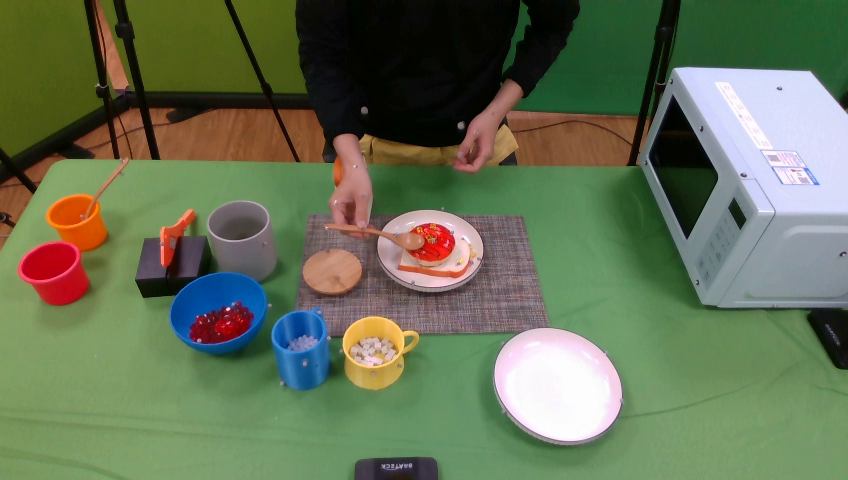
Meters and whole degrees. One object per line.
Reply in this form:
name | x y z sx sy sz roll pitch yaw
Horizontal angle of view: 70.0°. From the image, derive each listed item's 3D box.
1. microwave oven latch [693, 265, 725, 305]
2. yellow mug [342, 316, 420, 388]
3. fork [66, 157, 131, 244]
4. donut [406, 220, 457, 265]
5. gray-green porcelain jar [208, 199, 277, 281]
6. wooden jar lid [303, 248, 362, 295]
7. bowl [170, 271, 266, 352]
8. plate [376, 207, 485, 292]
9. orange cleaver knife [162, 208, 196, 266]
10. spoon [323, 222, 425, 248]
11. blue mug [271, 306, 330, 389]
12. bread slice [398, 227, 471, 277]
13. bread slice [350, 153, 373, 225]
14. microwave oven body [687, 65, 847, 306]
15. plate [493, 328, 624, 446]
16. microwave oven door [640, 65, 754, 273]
microwave oven latch | 0.522 0.081 1.115 0.030 0.029 0.078 2 46 -1
yellow mug | -0.068 0.177 0.991 0.131 0.064 0.099 -15 50 -19
fork | -0.608 -0.074 1.132 0.207 0.019 0.028 -52 49 10
donut | 0.014 0.004 1.137 0.099 0.048 0.098 1 47 -1
gray-green porcelain jar | -0.323 0.007 1.092 0.106 0.127 0.105 2 46 -2
wooden jar lid | -0.169 0.060 1.122 0.108 0.021 0.107 2 45 -2
bowl | -0.333 0.132 1.006 0.151 0.077 0.150 2 46 -2
plate | 0.012 0.021 1.159 0.209 0.038 0.208 2 47 -2
orange cleaver knife | -0.454 -0.010 1.129 0.012 0.077 0.210 -1 17 -6
spoon | -0.084 -0.015 1.061 0.194 0.022 0.041 12 43 -31
blue mug | -0.188 0.163 0.969 0.082 0.106 0.116 15 47 10
bread slice | 0.025 0.022 1.159 0.131 0.019 0.104 10 47 6
bread slice | -0.125 -0.104 1.207 0.018 0.135 0.106 0 48 6
microwave oven body | 0.669 -0.111 1.176 0.326 0.261 0.439 0 46 -3
plate | 0.213 0.236 0.974 0.208 0.039 0.206 2 46 -2
microwave oven door | 0.523 -0.147 1.193 0.039 0.245 0.353 0 47 -3
